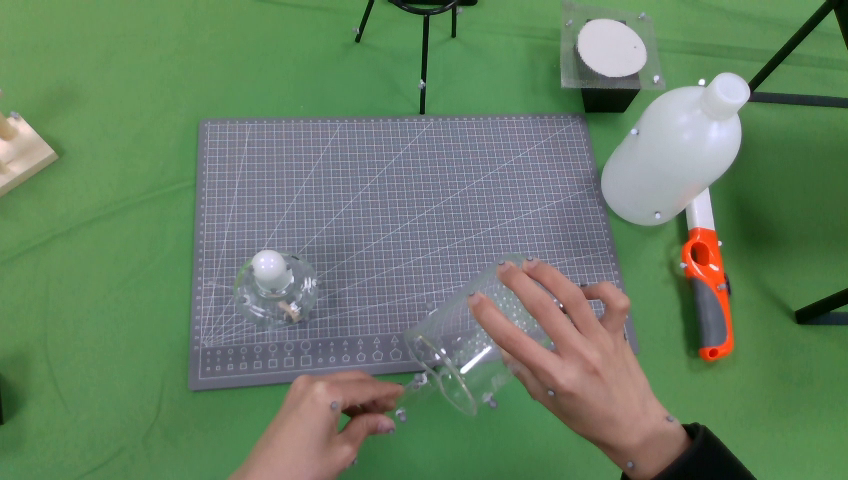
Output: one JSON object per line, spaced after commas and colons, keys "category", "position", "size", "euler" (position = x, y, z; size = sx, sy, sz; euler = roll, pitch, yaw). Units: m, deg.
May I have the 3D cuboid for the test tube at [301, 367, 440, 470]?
{"category": "test tube", "position": [-0.046, 0.144, 0.478], "size": [0.150, 0.017, 0.017], "euler": [-39, 72, 22]}

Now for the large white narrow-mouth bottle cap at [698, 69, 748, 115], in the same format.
{"category": "large white narrow-mouth bottle cap", "position": [0.269, -0.134, 0.547], "size": [0.038, 0.024, 0.037], "euler": [2, 67, -6]}

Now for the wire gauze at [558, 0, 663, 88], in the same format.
{"category": "wire gauze", "position": [0.219, -0.233, 0.721], "size": [0.122, 0.011, 0.124], "euler": [4, 67, -5]}

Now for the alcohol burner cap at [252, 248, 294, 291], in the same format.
{"category": "alcohol burner cap", "position": [-0.133, 0.024, 0.525], "size": [0.034, 0.048, 0.033], "euler": [1, 72, -3]}

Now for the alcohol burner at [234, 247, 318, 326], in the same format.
{"category": "alcohol burner", "position": [-0.137, 0.037, 0.558], "size": [0.078, 0.119, 0.077], "euler": [4, 66, -8]}

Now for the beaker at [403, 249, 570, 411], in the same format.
{"category": "beaker", "position": [0.047, 0.061, 0.431], "size": [0.100, 0.084, 0.073], "euler": [-37, 78, -18]}

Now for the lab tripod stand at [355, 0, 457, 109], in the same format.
{"category": "lab tripod stand", "position": [-0.008, -0.245, 0.683], "size": [0.149, 0.132, 0.147], "euler": [3, 68, -8]}

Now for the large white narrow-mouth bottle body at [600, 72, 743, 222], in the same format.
{"category": "large white narrow-mouth bottle body", "position": [0.260, -0.100, 0.624], "size": [0.102, 0.195, 0.101], "euler": [2, 67, -5]}

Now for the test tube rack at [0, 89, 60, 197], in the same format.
{"category": "test tube rack", "position": [-0.486, -0.049, 0.566], "size": [0.066, 0.085, 0.242], "euler": [43, 69, 11]}

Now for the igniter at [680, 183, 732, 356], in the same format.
{"category": "igniter", "position": [0.311, -0.005, 0.683], "size": [0.057, 0.025, 0.274], "euler": [10, 66, -17]}
